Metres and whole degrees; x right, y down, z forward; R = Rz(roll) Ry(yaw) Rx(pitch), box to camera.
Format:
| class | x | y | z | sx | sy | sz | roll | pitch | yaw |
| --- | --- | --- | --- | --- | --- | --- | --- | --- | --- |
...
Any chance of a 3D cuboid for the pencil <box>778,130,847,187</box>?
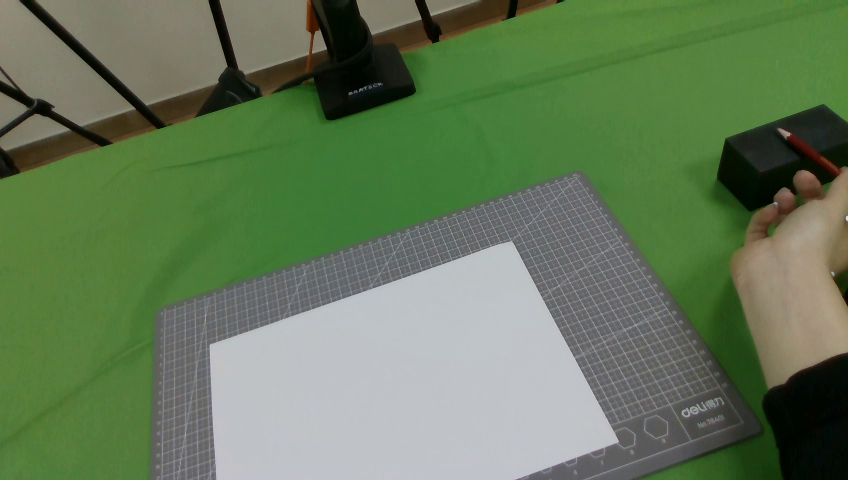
| class | x | y | z | sx | sy | sz | roll | pitch | yaw |
| --- | --- | --- | --- | --- | --- | --- | --- | --- | --- |
| pencil | 0.348 | -0.035 | 0.476 | 0.012 | 0.012 | 0.192 | -22 | 47 | -5 |
